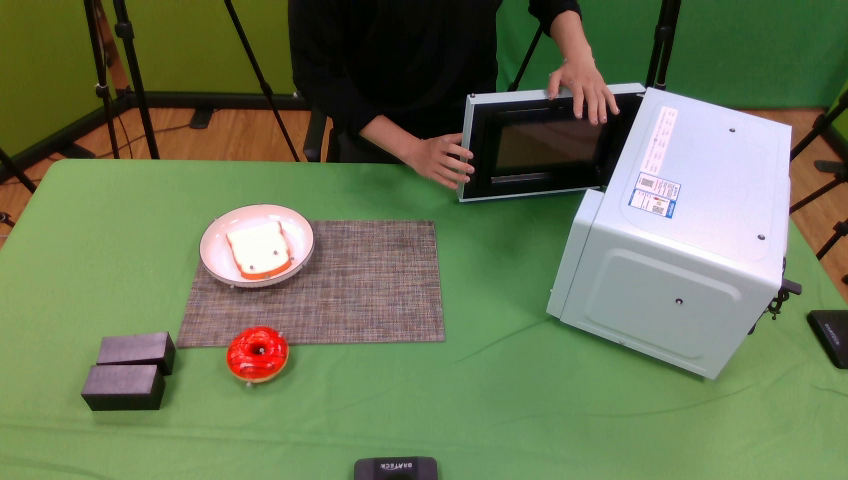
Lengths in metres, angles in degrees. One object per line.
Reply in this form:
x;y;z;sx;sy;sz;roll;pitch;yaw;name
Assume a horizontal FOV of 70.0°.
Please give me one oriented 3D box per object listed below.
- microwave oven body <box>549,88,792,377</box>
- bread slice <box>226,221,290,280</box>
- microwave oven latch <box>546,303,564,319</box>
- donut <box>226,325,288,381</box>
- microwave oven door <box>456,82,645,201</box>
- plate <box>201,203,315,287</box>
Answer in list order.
0.456;-0.028;1.088;0.325;0.261;0.440;20;47;16;microwave oven body
-0.308;0.019;1.141;0.105;0.019;0.130;-17;49;-18;bread slice
0.242;0.102;1.081;0.030;0.029;0.079;22;48;17;microwave oven latch
-0.270;0.182;0.984;0.099;0.048;0.098;5;49;-5;donut
0.249;-0.197;1.228;0.356;0.245;0.039;-7;47;-10;microwave oven door
-0.310;0.013;1.145;0.208;0.039;0.206;2;46;-2;plate
